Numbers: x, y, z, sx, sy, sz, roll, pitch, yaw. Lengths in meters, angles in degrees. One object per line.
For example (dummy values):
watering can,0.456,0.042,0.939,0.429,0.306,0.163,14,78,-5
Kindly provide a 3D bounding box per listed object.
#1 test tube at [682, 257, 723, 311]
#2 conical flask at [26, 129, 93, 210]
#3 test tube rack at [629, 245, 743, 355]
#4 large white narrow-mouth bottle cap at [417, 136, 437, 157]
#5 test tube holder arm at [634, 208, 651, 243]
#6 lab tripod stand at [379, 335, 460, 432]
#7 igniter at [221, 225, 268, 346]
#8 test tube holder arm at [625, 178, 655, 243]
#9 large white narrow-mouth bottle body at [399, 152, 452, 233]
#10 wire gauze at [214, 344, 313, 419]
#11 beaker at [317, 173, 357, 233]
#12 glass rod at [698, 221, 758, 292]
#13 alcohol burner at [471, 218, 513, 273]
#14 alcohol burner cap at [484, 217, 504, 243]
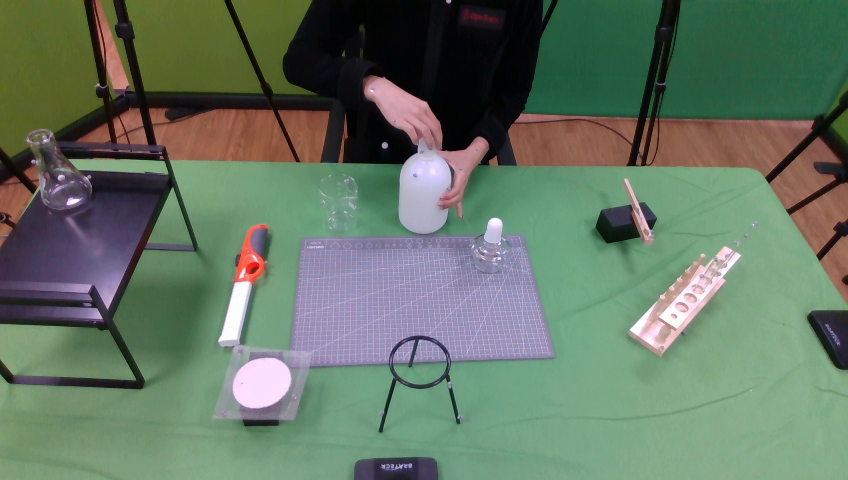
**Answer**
test tube,0.475,0.080,1.037,0.017,0.151,0.017,1,50,-1
conical flask,-0.575,-0.113,0.946,0.075,0.122,0.075,2,46,-2
test tube rack,0.474,0.095,1.091,0.242,0.085,0.066,-34,56,-31
large white narrow-mouth bottle cap,0.006,-0.172,1.116,0.038,0.024,0.037,2,47,-2
test tube holder arm,0.428,-0.030,1.189,0.010,0.015,0.087,1,47,-2
lab tripod stand,-0.011,0.214,0.911,0.148,0.132,0.147,1,45,0
igniter,-0.323,0.072,1.100,0.057,0.025,0.274,-6,45,5
test tube holder arm,0.433,-0.062,1.220,0.013,0.015,0.177,0,47,-3
large white narrow-mouth bottle body,0.003,-0.110,1.183,0.102,0.195,0.101,2,47,-2
wire gauze,-0.241,0.213,0.915,0.121,0.011,0.124,5,46,1
beaker,-0.166,-0.070,1.198,0.083,0.101,0.074,25,50,18
glass rod,0.527,0.035,1.059,0.008,0.200,0.008,5,49,-6
alcohol burner,0.128,0.005,1.132,0.078,0.120,0.077,0,47,0
alcohol burner cap,0.130,-0.021,1.107,0.034,0.048,0.033,4,40,-3
